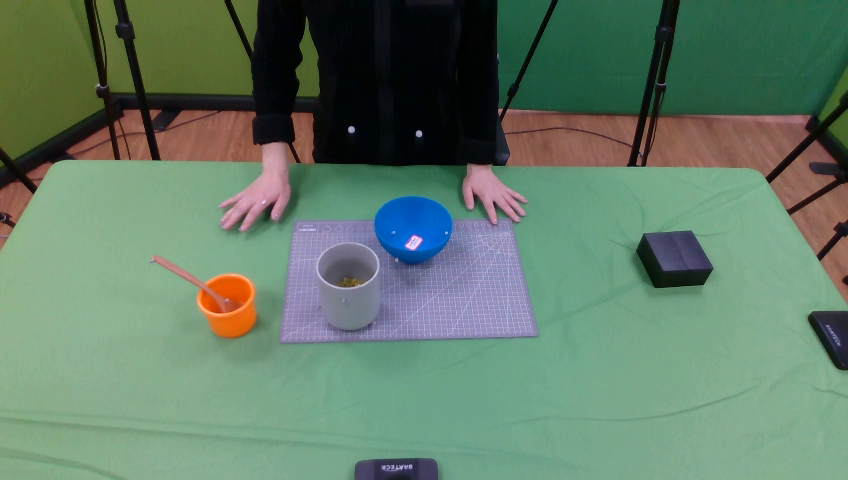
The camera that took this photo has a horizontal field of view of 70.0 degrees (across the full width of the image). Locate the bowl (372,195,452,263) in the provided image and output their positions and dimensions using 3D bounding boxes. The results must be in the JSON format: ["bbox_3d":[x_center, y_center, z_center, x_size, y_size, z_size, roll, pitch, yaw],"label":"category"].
[{"bbox_3d":[-0.023,-0.008,1.161,0.151,0.077,0.150,2,46,-2],"label":"bowl"}]

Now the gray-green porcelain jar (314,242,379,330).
[{"bbox_3d":[-0.129,0.084,1.031,0.106,0.127,0.105,2,46,-2],"label":"gray-green porcelain jar"}]

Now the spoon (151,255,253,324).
[{"bbox_3d":[-0.365,0.080,1.004,0.021,0.195,0.041,-27,32,33],"label":"spoon"}]
